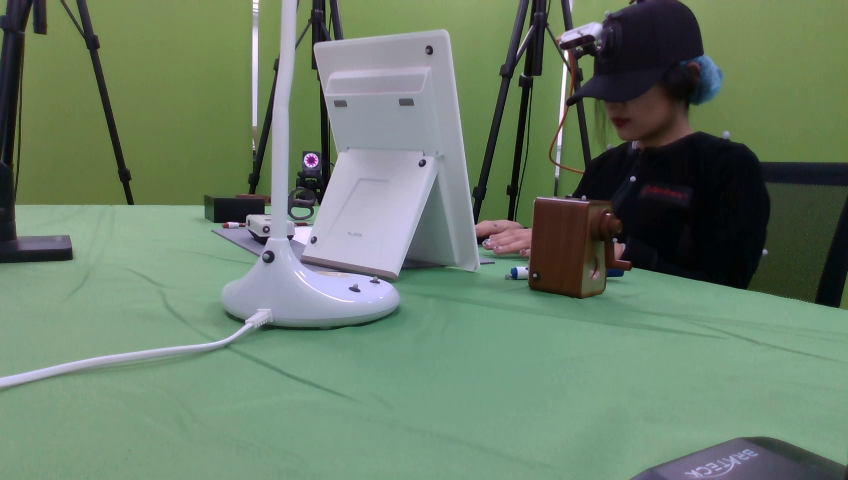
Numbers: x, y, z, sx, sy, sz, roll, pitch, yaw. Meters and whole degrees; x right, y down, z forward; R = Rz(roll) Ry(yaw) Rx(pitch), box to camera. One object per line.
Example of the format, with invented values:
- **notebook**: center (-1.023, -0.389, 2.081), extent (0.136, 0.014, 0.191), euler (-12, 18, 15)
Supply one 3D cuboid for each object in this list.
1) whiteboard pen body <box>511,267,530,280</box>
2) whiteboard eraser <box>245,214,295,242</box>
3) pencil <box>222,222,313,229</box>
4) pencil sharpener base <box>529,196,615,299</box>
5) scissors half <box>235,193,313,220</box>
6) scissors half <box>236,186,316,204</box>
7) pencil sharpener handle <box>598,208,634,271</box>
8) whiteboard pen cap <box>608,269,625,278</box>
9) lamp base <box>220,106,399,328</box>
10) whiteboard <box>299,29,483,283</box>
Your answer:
- **whiteboard pen body**: center (0.178, 0.041, 0.758), extent (0.141, 0.017, 0.017), euler (0, 8, -8)
- **whiteboard eraser**: center (-0.247, -0.018, 0.965), extent (0.056, 0.042, 0.112), euler (0, 8, -28)
- **pencil**: center (-0.302, -0.030, 1.189), extent (0.195, 0.012, 0.012), euler (-2, 9, -42)
- **pencil sharpener base**: center (0.168, 0.007, 0.678), extent (0.076, 0.107, 0.062), euler (10, 10, 42)
- **scissors half**: center (-0.325, -0.077, 1.320), extent (0.176, 0.040, 0.012), euler (17, 8, -32)
- **scissors half**: center (-0.320, -0.097, 1.316), extent (0.176, 0.040, 0.013), euler (-3, 13, -29)
- **pencil sharpener handle**: center (0.208, 0.000, 0.645), extent (0.030, 0.068, 0.036), euler (10, 23, 42)
- **whiteboard pen cap**: center (0.237, 0.039, 0.767), extent (0.033, 0.018, 0.018), euler (-1, 8, -8)
- **lamp base**: center (-0.102, -0.023, 0.531), extent (0.160, 0.180, 0.179), euler (4, 10, 10)
- **whiteboard**: center (-0.074, -0.082, 0.742), extent (0.216, 0.305, 0.144), euler (9, 29, 37)
